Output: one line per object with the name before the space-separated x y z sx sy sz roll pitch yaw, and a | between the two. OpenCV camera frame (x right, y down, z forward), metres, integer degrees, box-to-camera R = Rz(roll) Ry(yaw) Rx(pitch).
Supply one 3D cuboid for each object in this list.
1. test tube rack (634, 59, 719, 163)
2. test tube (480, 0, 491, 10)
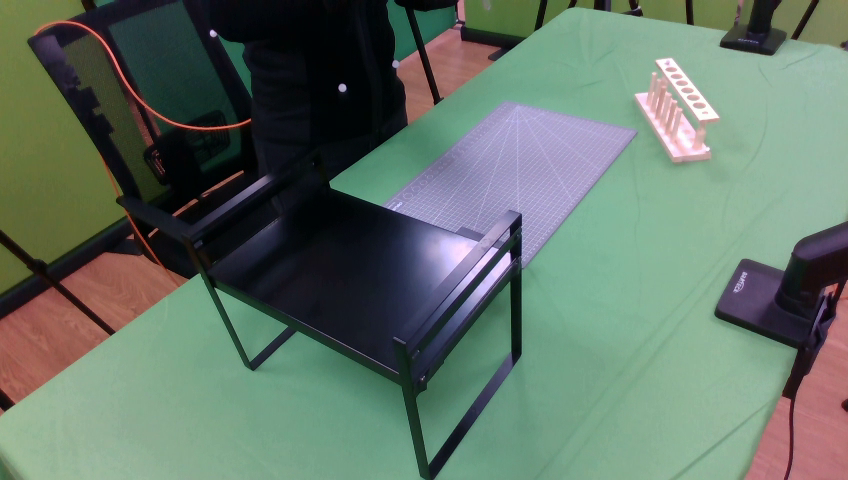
test tube rack | 0.470 -0.251 1.148 0.067 0.085 0.241 -6 40 3
test tube | 0.084 -0.414 0.955 0.017 0.151 0.017 -5 72 18
